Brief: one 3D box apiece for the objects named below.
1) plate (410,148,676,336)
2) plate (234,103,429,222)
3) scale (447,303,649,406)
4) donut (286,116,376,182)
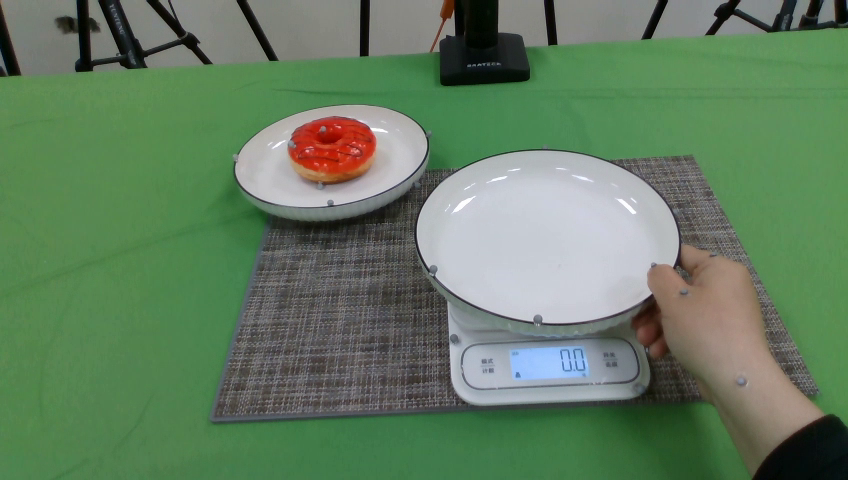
[{"bbox_3d":[0.093,-0.001,0.497,0.207,0.039,0.205,-3,44,3],"label":"plate"},{"bbox_3d":[-0.097,-0.083,0.659,0.209,0.038,0.207,-3,41,3],"label":"plate"},{"bbox_3d":[0.093,0.044,0.508,0.148,0.032,0.199,-3,44,2],"label":"scale"},{"bbox_3d":[-0.100,-0.099,0.660,0.099,0.049,0.098,-2,41,2],"label":"donut"}]
